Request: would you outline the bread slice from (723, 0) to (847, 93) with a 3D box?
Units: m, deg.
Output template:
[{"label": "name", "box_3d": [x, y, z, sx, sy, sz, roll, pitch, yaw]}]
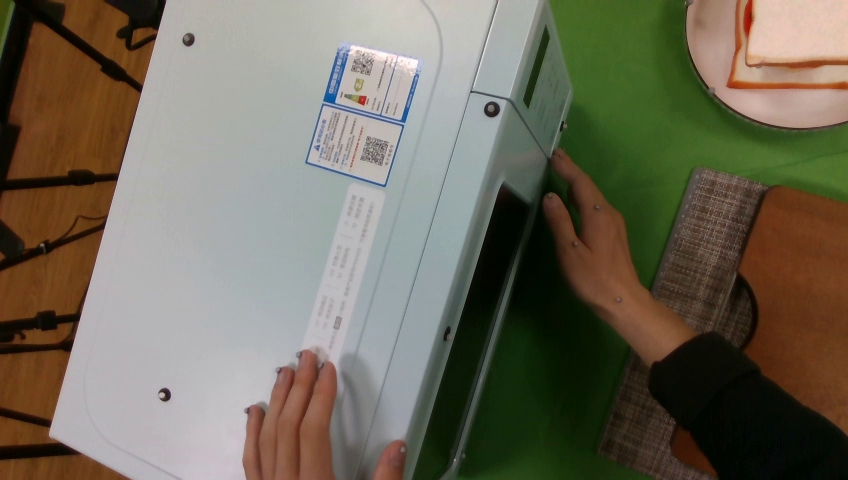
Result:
[{"label": "bread slice", "box_3d": [0.340, -0.202, 0.562, 0.104, 0.019, 0.131, 4, 89, 17]}]

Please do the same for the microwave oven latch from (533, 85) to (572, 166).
[{"label": "microwave oven latch", "box_3d": [0.125, -0.117, 0.607, 0.030, 0.029, 0.079, 18, 93, 18]}]

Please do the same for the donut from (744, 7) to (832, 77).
[{"label": "donut", "box_3d": [0.334, -0.194, 0.532, 0.099, 0.048, 0.099, 1, 94, 13]}]

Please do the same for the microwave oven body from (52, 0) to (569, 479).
[{"label": "microwave oven body", "box_3d": [-0.089, 0.006, 0.568, 0.324, 0.261, 0.441, 17, 93, 18]}]

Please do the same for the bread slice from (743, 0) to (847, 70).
[{"label": "bread slice", "box_3d": [0.325, -0.204, 0.505, 0.106, 0.018, 0.134, 1, 81, 19]}]

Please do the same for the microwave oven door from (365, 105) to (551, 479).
[{"label": "microwave oven door", "box_3d": [0.030, 0.086, 0.520, 0.039, 0.245, 0.355, 16, 92, 19]}]

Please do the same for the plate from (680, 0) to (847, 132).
[{"label": "plate", "box_3d": [0.346, -0.199, 0.559, 0.207, 0.039, 0.207, -1, 87, 18]}]
